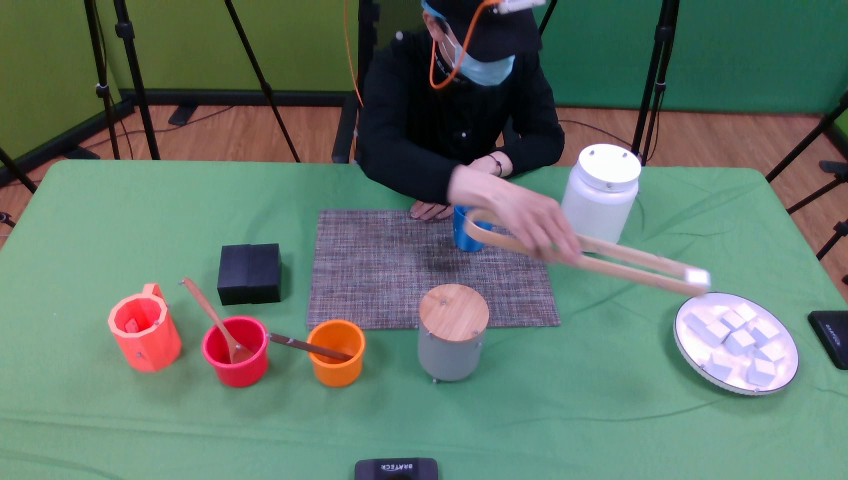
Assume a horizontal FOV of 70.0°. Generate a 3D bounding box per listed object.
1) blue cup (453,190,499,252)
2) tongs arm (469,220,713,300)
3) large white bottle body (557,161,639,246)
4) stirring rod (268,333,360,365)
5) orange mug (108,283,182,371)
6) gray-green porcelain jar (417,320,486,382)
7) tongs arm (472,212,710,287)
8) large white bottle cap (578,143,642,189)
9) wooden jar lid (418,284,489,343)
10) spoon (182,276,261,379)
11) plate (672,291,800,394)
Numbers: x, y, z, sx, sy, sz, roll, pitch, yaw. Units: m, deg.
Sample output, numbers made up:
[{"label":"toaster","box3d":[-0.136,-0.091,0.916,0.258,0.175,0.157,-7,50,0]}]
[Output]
[{"label":"blue cup","box3d":[0.094,-0.032,1.173,0.093,0.100,0.092,4,46,-3]},{"label":"tongs arm","box3d":[0.259,0.035,0.947,0.387,0.028,0.028,15,44,1]},{"label":"large white bottle body","box3d":[0.340,-0.080,1.185,0.131,0.185,0.130,2,46,-1]},{"label":"stirring rod","box3d":[-0.167,0.170,0.941,0.177,0.006,0.014,26,27,-40]},{"label":"orange mug","box3d":[-0.445,0.134,0.982,0.083,0.101,0.125,-1,50,-5]},{"label":"gray-green porcelain jar","box3d":[0.042,0.158,0.975,0.106,0.127,0.105,2,46,-2]},{"label":"tongs arm","box3d":[0.263,0.021,0.964,0.384,0.026,0.050,18,41,5]},{"label":"large white bottle cap","box3d":[0.344,-0.139,1.123,0.115,0.018,0.114,2,46,-2]},{"label":"wooden jar lid","box3d":[0.045,0.114,0.931,0.108,0.021,0.107,2,49,-2]},{"label":"spoon","box3d":[-0.320,0.137,0.957,0.041,0.021,0.194,-36,102,-32]},{"label":"plate","box3d":[0.533,0.179,1.050,0.208,0.039,0.206,2,46,-2]}]
